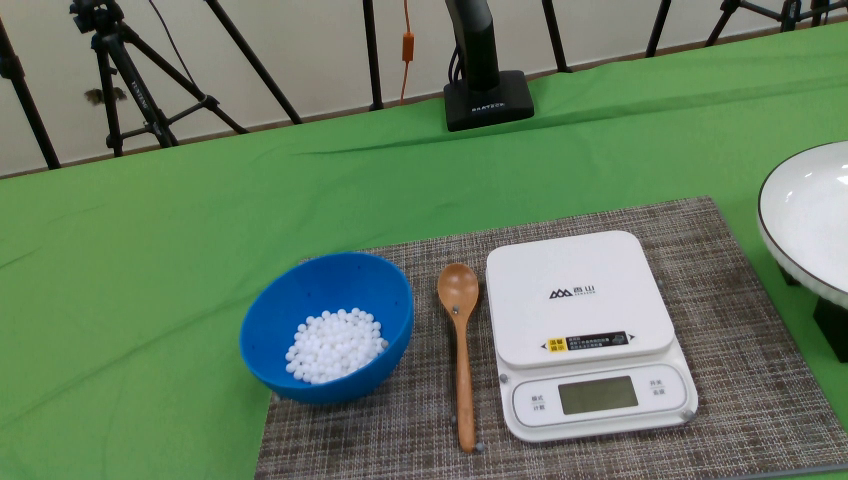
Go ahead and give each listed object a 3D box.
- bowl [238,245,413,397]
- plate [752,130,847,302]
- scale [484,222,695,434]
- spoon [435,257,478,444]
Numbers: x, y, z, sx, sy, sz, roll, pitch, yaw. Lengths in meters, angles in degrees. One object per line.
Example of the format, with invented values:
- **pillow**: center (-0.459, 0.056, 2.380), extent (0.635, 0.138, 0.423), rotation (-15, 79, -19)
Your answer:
- **bowl**: center (-0.077, 0.083, 0.536), extent (0.151, 0.077, 0.150), rotation (-8, 42, 7)
- **plate**: center (0.370, -0.014, 0.473), extent (0.209, 0.038, 0.207), rotation (-8, 43, 8)
- **scale**: center (0.133, 0.067, 0.528), extent (0.148, 0.032, 0.199), rotation (-9, 43, 7)
- **spoon**: center (0.032, 0.090, 0.540), extent (0.041, 0.022, 0.192), rotation (3, 43, -3)
